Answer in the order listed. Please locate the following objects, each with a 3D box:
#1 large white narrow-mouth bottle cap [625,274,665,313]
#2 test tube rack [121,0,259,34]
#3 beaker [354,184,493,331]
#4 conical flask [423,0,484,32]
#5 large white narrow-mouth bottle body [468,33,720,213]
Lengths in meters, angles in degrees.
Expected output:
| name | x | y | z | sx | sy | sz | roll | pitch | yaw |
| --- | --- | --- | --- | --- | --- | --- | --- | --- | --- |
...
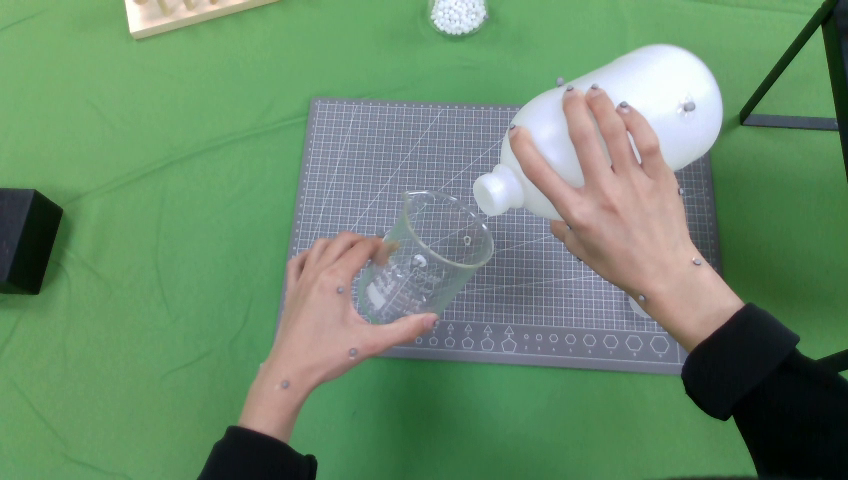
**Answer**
| name | x | y | z | sx | sy | sz | roll | pitch | yaw |
| --- | --- | --- | --- | --- | --- | --- | --- | --- | --- |
| large white narrow-mouth bottle cap | 0.220 | 0.054 | 0.603 | 0.038 | 0.024 | 0.037 | -1 | 70 | 3 |
| test tube rack | -0.259 | -0.333 | 0.730 | 0.242 | 0.086 | 0.066 | -17 | 70 | -5 |
| beaker | -0.007 | 0.016 | 0.468 | 0.083 | 0.100 | 0.074 | 44 | 39 | 10 |
| conical flask | 0.034 | -0.305 | 0.691 | 0.075 | 0.122 | 0.075 | -1 | 69 | 2 |
| large white narrow-mouth bottle body | 0.119 | -0.077 | 0.457 | 0.195 | 0.102 | 0.101 | -29 | 70 | -17 |
